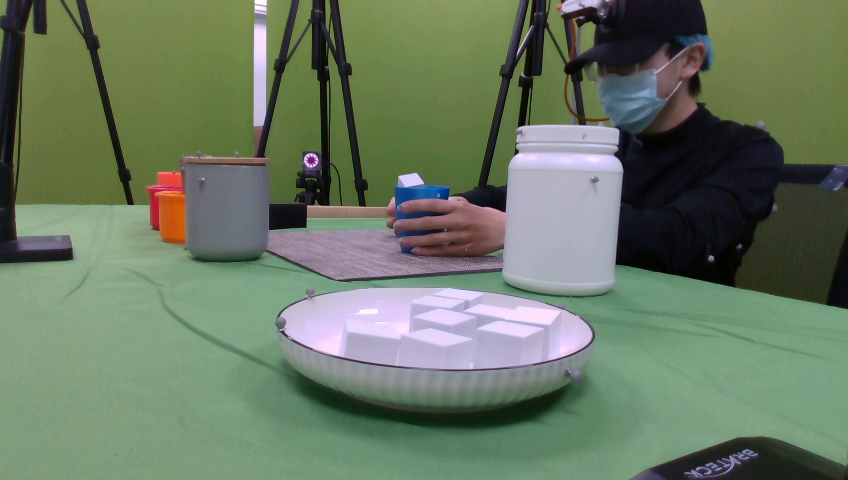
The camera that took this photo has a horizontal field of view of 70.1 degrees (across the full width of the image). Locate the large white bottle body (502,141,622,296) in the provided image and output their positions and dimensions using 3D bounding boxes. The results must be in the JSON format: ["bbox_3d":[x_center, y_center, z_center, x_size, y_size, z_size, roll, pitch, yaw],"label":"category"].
[{"bbox_3d":[0.161,-0.037,0.706,0.131,0.184,0.130,2,7,0],"label":"large white bottle body"}]

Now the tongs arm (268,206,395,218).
[{"bbox_3d":[-0.230,-0.065,1.379,0.387,0.026,0.050,-2,2,-31],"label":"tongs arm"}]

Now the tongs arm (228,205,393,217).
[{"bbox_3d":[-0.267,-0.070,1.453,0.389,0.027,0.028,0,-2,-18],"label":"tongs arm"}]

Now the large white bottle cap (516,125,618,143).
[{"bbox_3d":[0.164,-0.120,0.695,0.115,0.018,0.115,2,8,0],"label":"large white bottle cap"}]

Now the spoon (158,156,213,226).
[{"bbox_3d":[-0.435,-0.094,1.121,0.041,0.022,0.193,5,51,13],"label":"spoon"}]

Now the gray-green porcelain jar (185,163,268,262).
[{"bbox_3d":[-0.263,-0.038,0.809,0.106,0.126,0.106,3,8,0],"label":"gray-green porcelain jar"}]

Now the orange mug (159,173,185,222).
[{"bbox_3d":[-0.477,-0.089,1.241,0.127,0.101,0.083,-7,12,-33],"label":"orange mug"}]

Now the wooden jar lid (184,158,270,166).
[{"bbox_3d":[-0.260,-0.099,0.801,0.108,0.020,0.108,0,9,0],"label":"wooden jar lid"}]

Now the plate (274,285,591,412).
[{"bbox_3d":[0.005,0.069,0.408,0.208,0.039,0.207,2,7,0],"label":"plate"}]

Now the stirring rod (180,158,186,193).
[{"bbox_3d":[-0.380,-0.071,0.980,0.014,0.006,0.175,-5,52,-25],"label":"stirring rod"}]

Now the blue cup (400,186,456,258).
[{"bbox_3d":[0.002,-0.027,0.921,0.093,0.100,0.092,4,9,0],"label":"blue cup"}]
